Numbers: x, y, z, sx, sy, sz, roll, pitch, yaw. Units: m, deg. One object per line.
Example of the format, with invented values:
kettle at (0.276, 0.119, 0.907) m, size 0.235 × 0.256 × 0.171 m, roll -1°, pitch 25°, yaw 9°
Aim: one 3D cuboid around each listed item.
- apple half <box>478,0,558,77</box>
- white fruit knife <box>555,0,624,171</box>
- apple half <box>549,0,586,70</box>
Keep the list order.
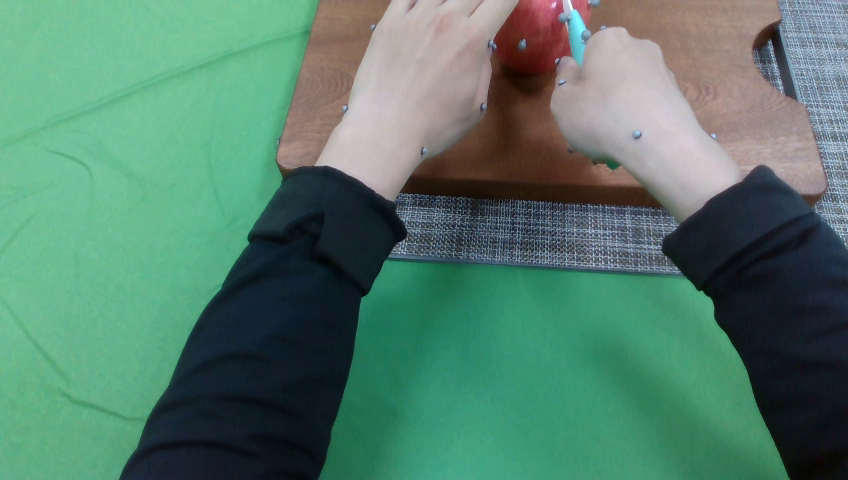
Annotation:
apple half at (0.069, -0.168, 0.472) m, size 0.053 × 0.075 × 0.080 m, roll -10°, pitch 61°, yaw 0°
white fruit knife at (0.100, -0.142, 0.419) m, size 0.016 × 0.027 × 0.205 m, roll -11°, pitch 67°, yaw -2°
apple half at (0.108, -0.176, 0.474) m, size 0.033 × 0.082 × 0.080 m, roll -11°, pitch 60°, yaw -1°
